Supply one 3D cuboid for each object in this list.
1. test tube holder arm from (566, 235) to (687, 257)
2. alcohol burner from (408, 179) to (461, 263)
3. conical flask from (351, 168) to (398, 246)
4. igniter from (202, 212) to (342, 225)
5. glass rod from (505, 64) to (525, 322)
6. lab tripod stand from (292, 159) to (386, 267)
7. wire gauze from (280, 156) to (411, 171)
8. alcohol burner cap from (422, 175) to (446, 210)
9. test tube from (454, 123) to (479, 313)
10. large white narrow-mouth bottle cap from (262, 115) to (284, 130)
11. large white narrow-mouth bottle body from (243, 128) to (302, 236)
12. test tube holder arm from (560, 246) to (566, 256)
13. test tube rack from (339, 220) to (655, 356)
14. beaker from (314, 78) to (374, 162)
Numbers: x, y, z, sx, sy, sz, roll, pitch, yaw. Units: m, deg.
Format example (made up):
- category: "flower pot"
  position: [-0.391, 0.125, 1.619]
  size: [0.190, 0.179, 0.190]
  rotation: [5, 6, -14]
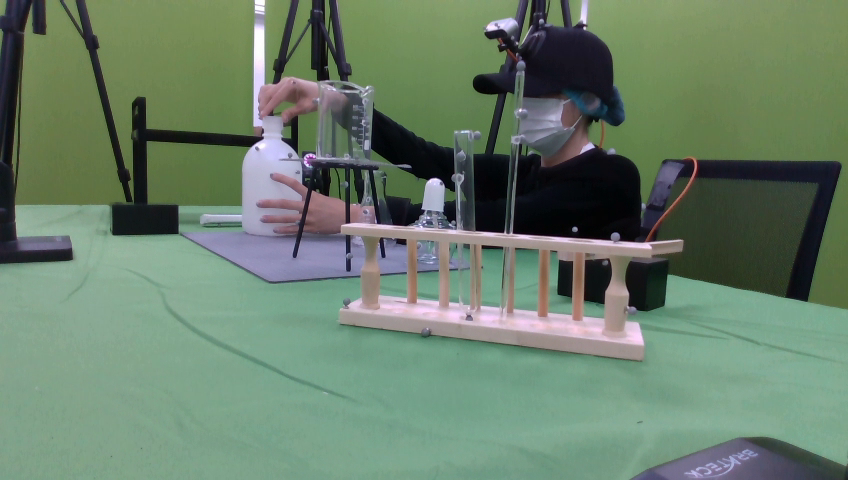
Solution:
- category: "test tube holder arm"
  position: [0.215, 0.006, 0.630]
  size: [0.179, 0.015, 0.013]
  rotation: [-3, 9, -30]
- category: "alcohol burner"
  position: [0.013, -0.029, 0.834]
  size: [0.078, 0.119, 0.078]
  rotation: [0, 6, 0]
- category: "conical flask"
  position: [-0.078, -0.053, 0.962]
  size: [0.075, 0.122, 0.075]
  rotation: [2, 7, 0]
- category: "igniter"
  position: [-0.298, -0.043, 1.216]
  size: [0.278, 0.025, 0.057]
  rotation: [-3, -2, -32]
- category: "glass rod"
  position: [0.069, -0.030, 0.458]
  size: [0.008, 0.199, 0.008]
  rotation: [1, 15, 0]
- category: "lab tripod stand"
  position: [-0.105, -0.039, 0.798]
  size: [0.148, 0.131, 0.148]
  rotation: [2, 5, 0]
- category: "wire gauze"
  position: [-0.103, -0.103, 0.785]
  size: [0.121, 0.011, 0.126]
  rotation: [11, 8, 42]
- category: "alcohol burner cap"
  position: [0.016, -0.065, 0.830]
  size: [0.034, 0.048, 0.034]
  rotation: [7, 4, 0]
- category: "test tube"
  position: [0.034, -0.016, 0.477]
  size: [0.017, 0.150, 0.017]
  rotation: [-2, 9, 1]
- category: "large white narrow-mouth bottle cap"
  position: [-0.262, -0.203, 1.047]
  size: [0.038, 0.024, 0.037]
  rotation: [2, 8, 0]
- category: "large white narrow-mouth bottle body"
  position: [-0.265, -0.109, 1.062]
  size: [0.102, 0.194, 0.102]
  rotation: [2, 8, 0]
- category: "test tube holder arm"
  position: [0.173, 0.007, 0.611]
  size: [0.088, 0.015, 0.010]
  rotation: [-3, 9, -30]
- category: "test tube rack"
  position: [0.056, 0.032, 0.495]
  size: [0.242, 0.085, 0.067]
  rotation: [4, 7, 15]
- category: "beaker"
  position: [-0.101, -0.151, 0.775]
  size: [0.074, 0.100, 0.083]
  rotation: [-2, 8, -39]
